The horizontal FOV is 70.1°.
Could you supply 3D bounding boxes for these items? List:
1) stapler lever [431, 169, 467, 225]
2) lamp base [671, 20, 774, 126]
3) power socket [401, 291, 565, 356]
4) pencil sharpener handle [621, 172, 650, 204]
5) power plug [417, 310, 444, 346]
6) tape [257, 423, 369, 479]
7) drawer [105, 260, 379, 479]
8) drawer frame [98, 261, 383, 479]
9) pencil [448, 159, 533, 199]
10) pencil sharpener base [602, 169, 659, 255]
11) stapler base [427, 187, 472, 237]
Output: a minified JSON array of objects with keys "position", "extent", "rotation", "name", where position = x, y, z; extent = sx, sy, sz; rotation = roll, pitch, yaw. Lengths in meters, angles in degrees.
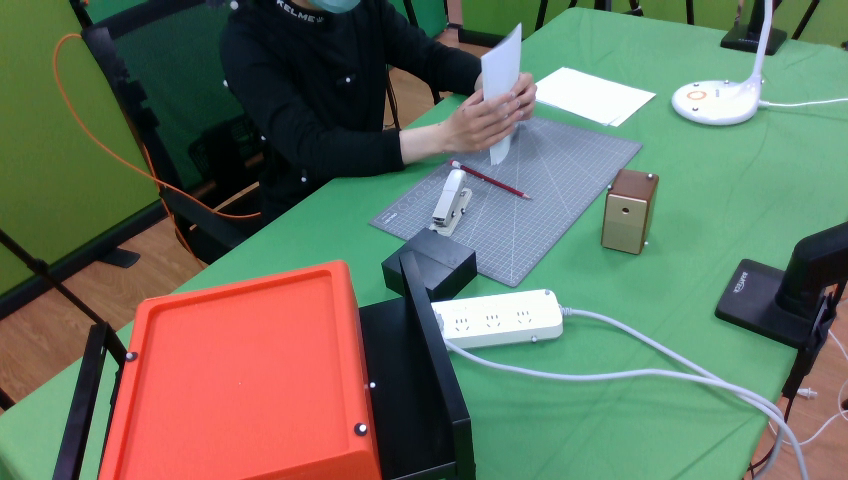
[{"position":[0.043,-0.074,1.010],"extent":[0.026,0.040,0.118],"rotation":[9,44,21],"name":"stapler lever"},{"position":[0.581,-0.332,1.154],"extent":[0.179,0.181,0.160],"rotation":[2,41,7],"name":"lamp base"},{"position":[0.080,0.112,0.822],"extent":[0.227,0.033,0.072],"rotation":[-6,41,0],"name":"power socket"},{"position":[0.328,-0.086,0.941],"extent":[0.036,0.068,0.030],"rotation":[30,49,8],"name":"pencil sharpener handle"},{"position":[0.006,0.122,0.785],"extent":[0.035,0.053,0.072],"rotation":[-1,40,9],"name":"power plug"},{"position":[-0.121,0.262,0.660],"extent":[0.117,0.053,0.116],"rotation":[-4,40,4],"name":"tape"},{"position":[-0.150,0.127,0.524],"extent":[0.195,0.073,0.210],"rotation":[-11,41,-5],"name":"drawer"},{"position":[-0.149,0.129,0.520],"extent":[0.202,0.083,0.212],"rotation":[-12,41,-6],"name":"drawer frame"},{"position":[0.118,-0.110,1.092],"extent":[0.192,0.012,0.012],"rotation":[30,52,32],"name":"pencil"},{"position":[0.311,-0.044,0.914],"extent":[0.061,0.107,0.077],"rotation":[14,45,24],"name":"pencil sharpener base"},{"position":[0.045,-0.057,1.028],"extent":[0.041,0.024,0.130],"rotation":[9,44,20],"name":"stapler base"}]
